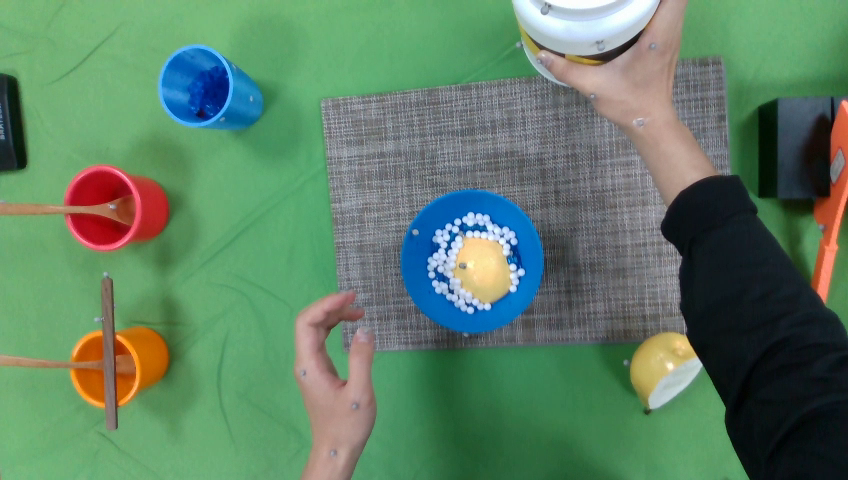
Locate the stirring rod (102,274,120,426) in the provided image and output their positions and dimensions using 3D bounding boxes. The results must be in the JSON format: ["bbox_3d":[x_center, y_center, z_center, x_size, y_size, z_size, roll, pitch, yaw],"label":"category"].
[{"bbox_3d":[-0.358,0.127,0.693,0.014,0.006,0.176,1,94,5],"label":"stirring rod"}]

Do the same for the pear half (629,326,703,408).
[{"bbox_3d":[0.254,0.141,0.665,0.076,0.055,0.110,-7,128,-23],"label":"pear half"}]

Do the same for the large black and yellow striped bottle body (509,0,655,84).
[{"bbox_3d":[0.140,-0.226,0.536,0.130,0.184,0.130,0,88,15],"label":"large black and yellow striped bottle body"}]

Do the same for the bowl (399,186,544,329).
[{"bbox_3d":[0.054,0.017,0.663,0.151,0.077,0.151,0,93,9],"label":"bowl"}]

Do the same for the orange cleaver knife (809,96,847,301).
[{"bbox_3d":[0.411,-0.036,0.614,0.012,0.076,0.213,-2,122,13],"label":"orange cleaver knife"}]

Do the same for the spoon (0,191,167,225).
[{"bbox_3d":[-0.400,-0.038,0.693,0.195,0.021,0.041,-1,97,-36],"label":"spoon"}]

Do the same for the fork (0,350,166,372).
[{"bbox_3d":[-0.409,0.138,0.702,0.209,0.018,0.028,11,106,-37],"label":"fork"}]

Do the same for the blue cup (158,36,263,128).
[{"bbox_3d":[-0.230,-0.165,0.682,0.092,0.100,0.092,1,94,10],"label":"blue cup"}]

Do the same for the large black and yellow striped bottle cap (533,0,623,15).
[{"bbox_3d":[0.120,-0.229,0.454,0.114,0.019,0.115,0,90,15],"label":"large black and yellow striped bottle cap"}]

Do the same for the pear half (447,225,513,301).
[{"bbox_3d":[0.057,0.023,0.658,0.070,0.031,0.088,-30,86,7],"label":"pear half"}]
